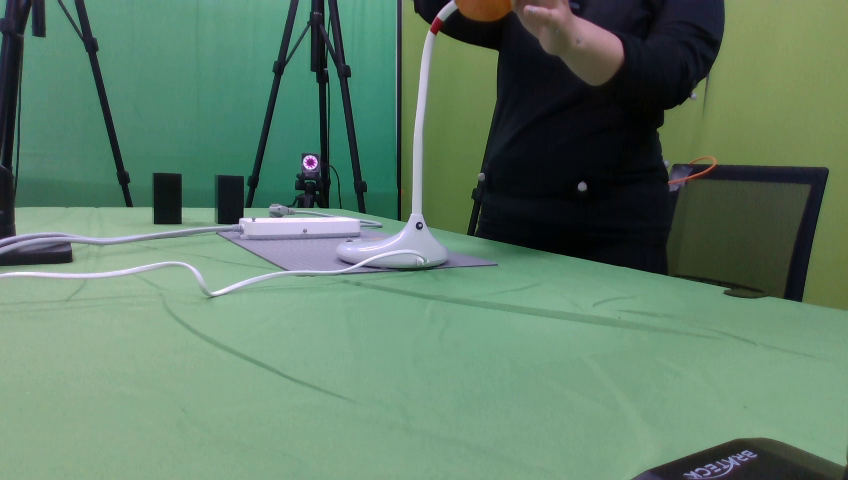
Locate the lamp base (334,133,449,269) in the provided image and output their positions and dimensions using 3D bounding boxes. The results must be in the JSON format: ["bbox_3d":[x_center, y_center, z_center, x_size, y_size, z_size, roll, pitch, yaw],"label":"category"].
[{"bbox_3d":[-0.034,-0.057,0.831,0.161,0.180,0.178,-3,12,-36],"label":"lamp base"}]

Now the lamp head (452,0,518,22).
[{"bbox_3d":[0.070,-0.317,0.700,0.112,0.122,0.112,7,-1,0],"label":"lamp head"}]

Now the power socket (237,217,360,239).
[{"bbox_3d":[-0.221,-0.023,1.080,0.228,0.032,0.072,-2,8,-33],"label":"power socket"}]

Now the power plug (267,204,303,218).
[{"bbox_3d":[-0.327,-0.059,1.404,0.073,0.035,0.052,22,-14,-26],"label":"power plug"}]
